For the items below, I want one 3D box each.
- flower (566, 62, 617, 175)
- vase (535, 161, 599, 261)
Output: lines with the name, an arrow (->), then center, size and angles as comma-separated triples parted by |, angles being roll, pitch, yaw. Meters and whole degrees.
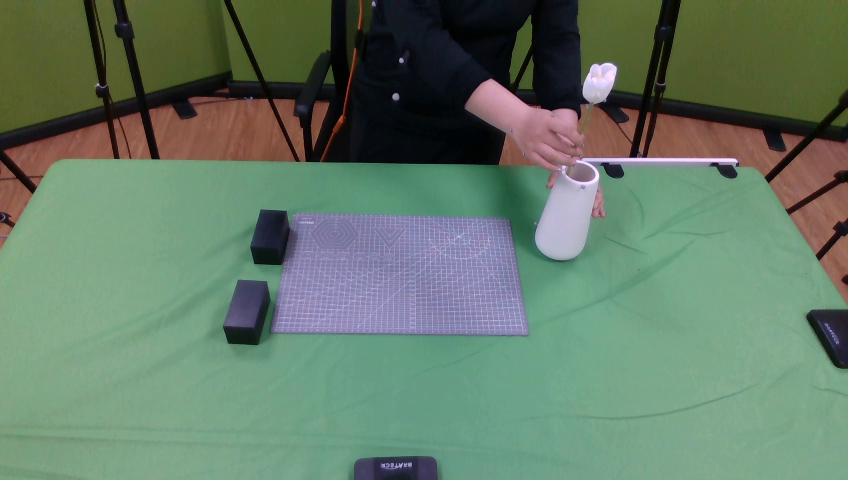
flower -> 0.252, -0.161, 0.989 | 0.044, 0.363, 0.038 | -34, 69, -12
vase -> 0.271, -0.051, 1.145 | 0.098, 0.201, 0.097 | 1, 46, -1
